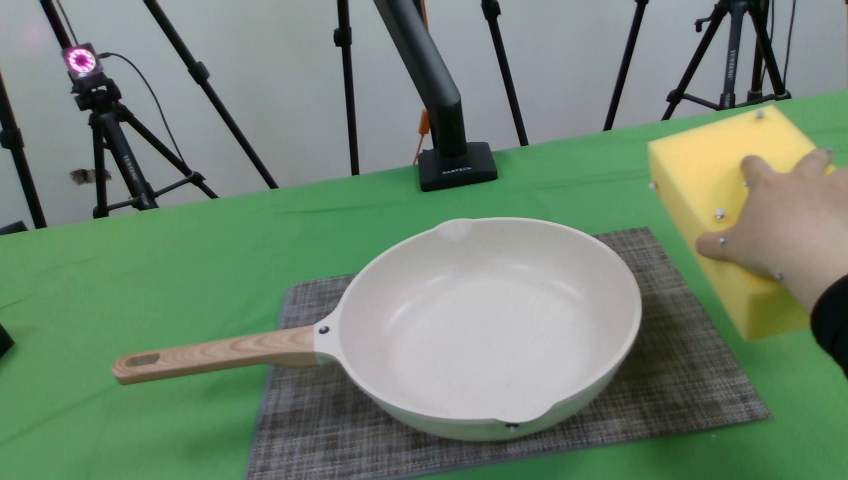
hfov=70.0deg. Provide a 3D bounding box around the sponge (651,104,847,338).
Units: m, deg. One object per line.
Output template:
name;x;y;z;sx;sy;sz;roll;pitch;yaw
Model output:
sponge;0.289;-0.025;0.515;0.118;0.061;0.204;-17;40;9

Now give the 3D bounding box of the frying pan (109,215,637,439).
frying pan;-0.046;0.088;0.588;0.489;0.103;0.303;-5;32;-6
